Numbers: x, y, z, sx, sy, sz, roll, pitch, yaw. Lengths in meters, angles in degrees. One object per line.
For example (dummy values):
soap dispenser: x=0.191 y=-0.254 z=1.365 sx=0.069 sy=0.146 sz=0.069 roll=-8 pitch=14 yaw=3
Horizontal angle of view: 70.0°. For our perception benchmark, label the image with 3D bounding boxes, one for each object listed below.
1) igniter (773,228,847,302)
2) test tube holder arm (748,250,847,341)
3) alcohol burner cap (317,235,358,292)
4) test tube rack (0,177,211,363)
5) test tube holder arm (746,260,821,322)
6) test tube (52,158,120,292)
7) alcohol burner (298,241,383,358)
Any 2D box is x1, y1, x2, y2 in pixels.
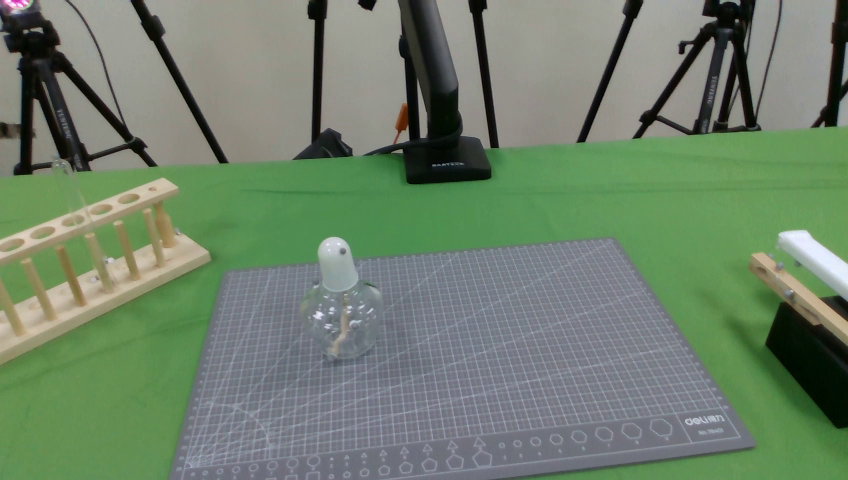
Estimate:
igniter: x=0.387 y=0.065 z=0.499 sx=0.057 sy=0.025 sz=0.273 roll=-6 pitch=31 yaw=-5
test tube holder arm: x=0.334 y=0.060 z=0.504 sx=0.015 sy=0.013 sz=0.176 roll=-14 pitch=33 yaw=-7
alcohol burner cap: x=-0.076 y=0.017 z=0.523 sx=0.034 sy=0.048 sz=0.033 roll=-2 pitch=39 yaw=2
test tube rack: x=-0.350 y=0.026 z=0.614 sx=0.066 sy=0.086 sz=0.242 roll=27 pitch=43 yaw=35
test tube holder arm: x=0.325 y=0.043 z=0.544 sx=0.015 sy=0.010 sz=0.087 roll=-14 pitch=33 yaw=-7
test tube: x=-0.326 y=-0.011 z=0.587 sx=0.017 sy=0.151 sz=0.017 roll=-1 pitch=35 yaw=1
alcohol burner: x=-0.076 y=0.047 z=0.543 sx=0.078 sy=0.120 sz=0.077 roll=0 pitch=36 yaw=0
